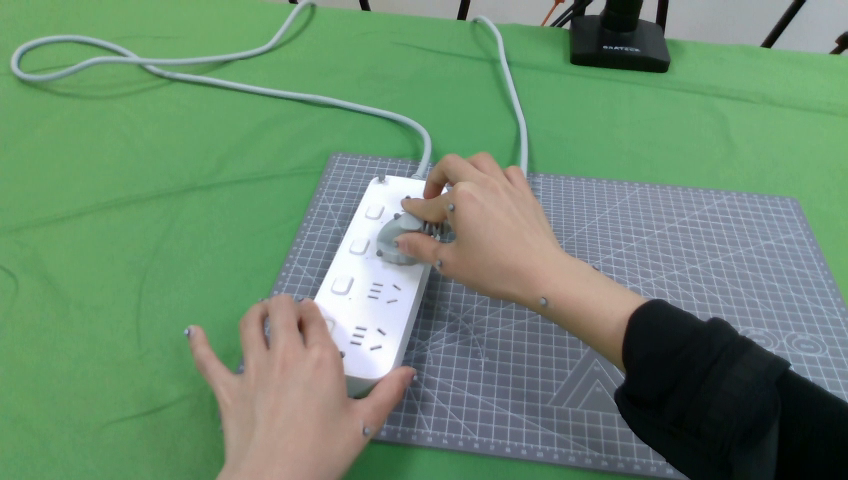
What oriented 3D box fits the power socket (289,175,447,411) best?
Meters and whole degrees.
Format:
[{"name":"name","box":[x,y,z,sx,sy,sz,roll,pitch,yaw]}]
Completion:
[{"name":"power socket","box":[-0.035,0.025,0.468,0.072,0.033,0.225,9,45,9]}]

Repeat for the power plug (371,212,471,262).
[{"name":"power plug","box":[-0.006,0.007,0.455,0.072,0.053,0.035,17,47,17]}]
